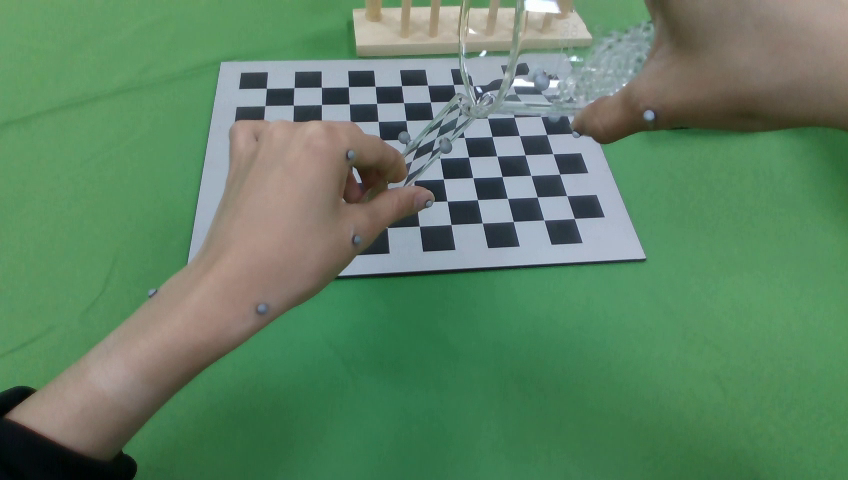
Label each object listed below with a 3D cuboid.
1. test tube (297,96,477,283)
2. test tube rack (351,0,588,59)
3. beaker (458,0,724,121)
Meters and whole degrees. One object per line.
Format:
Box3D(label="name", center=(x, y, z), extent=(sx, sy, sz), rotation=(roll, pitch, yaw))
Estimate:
Box3D(label="test tube", center=(-0.026, -0.022, 0.330), extent=(0.017, 0.150, 0.017), rotation=(32, 33, -24))
Box3D(label="test tube rack", center=(0.048, -0.242, 0.609), extent=(0.243, 0.086, 0.066), rotation=(-4, 52, -7))
Box3D(label="beaker", center=(0.072, -0.089, 0.275), extent=(0.100, 0.084, 0.073), rotation=(-1, 53, -14))
